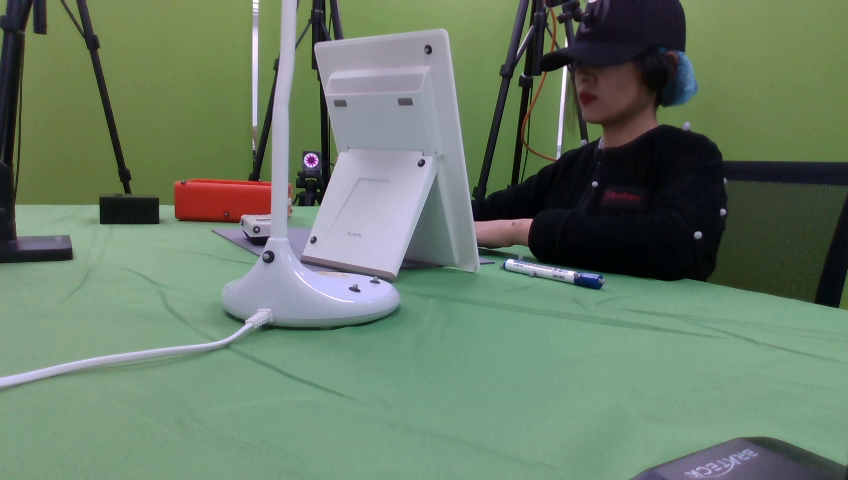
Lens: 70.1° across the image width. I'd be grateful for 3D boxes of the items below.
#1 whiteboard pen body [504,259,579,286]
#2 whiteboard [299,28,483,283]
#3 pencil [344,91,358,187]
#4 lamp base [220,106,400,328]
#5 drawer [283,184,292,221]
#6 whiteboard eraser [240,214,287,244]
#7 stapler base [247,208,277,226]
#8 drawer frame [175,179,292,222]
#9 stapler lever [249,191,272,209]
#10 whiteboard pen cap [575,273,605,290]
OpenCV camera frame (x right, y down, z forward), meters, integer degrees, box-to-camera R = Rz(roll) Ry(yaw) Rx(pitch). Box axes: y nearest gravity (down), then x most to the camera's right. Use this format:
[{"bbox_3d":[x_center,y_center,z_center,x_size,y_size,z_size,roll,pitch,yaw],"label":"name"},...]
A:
[{"bbox_3d":[0.157,0.042,0.764,0.017,0.017,0.140,-4,11,-41],"label":"whiteboard pen body"},{"bbox_3d":[-0.075,-0.082,0.741,0.216,0.305,0.144,9,30,38],"label":"whiteboard"},{"bbox_3d":[-0.135,-0.186,1.110,0.012,0.193,0.012,3,-17,1],"label":"pencil"},{"bbox_3d":[-0.101,-0.023,0.531,0.160,0.180,0.179,4,10,10],"label":"lamp base"},{"bbox_3d":[-0.397,-0.086,1.314,0.212,0.073,0.194,1,8,-9],"label":"drawer"},{"bbox_3d":[-0.256,-0.018,0.958,0.056,0.042,0.112,0,8,-25],"label":"whiteboard eraser"},{"bbox_3d":[-0.350,-0.054,1.310,0.041,0.024,0.130,-1,13,-3],"label":"stapler base"},{"bbox_3d":[-0.402,-0.087,1.311,0.214,0.082,0.201,1,8,-9],"label":"drawer frame"},{"bbox_3d":[-0.352,-0.086,1.306,0.027,0.040,0.118,-1,5,-3],"label":"stapler lever"},{"bbox_3d":[0.197,0.048,0.719,0.018,0.018,0.033,-4,11,-41],"label":"whiteboard pen cap"}]
